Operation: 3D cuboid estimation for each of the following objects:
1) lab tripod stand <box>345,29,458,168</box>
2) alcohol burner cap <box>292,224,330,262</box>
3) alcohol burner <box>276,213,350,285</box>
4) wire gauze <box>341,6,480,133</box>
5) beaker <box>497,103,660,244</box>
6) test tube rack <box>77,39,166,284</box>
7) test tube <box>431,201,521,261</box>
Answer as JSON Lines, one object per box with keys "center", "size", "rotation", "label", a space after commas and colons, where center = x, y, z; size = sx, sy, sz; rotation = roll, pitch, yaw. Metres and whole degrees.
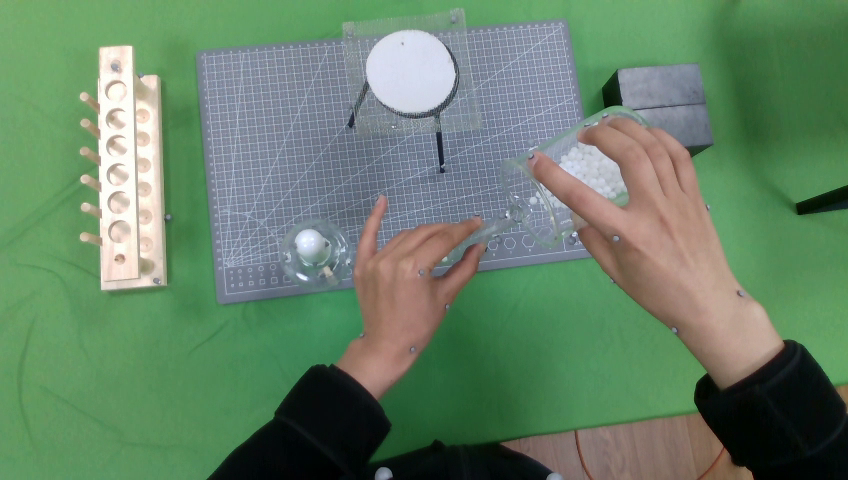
{"center": [-0.016, -0.159, 0.655], "size": [0.148, 0.132, 0.148], "rotation": [1, 80, -3], "label": "lab tripod stand"}
{"center": [-0.113, 0.002, 0.597], "size": [0.034, 0.048, 0.033], "rotation": [0, 76, 1], "label": "alcohol burner cap"}
{"center": [-0.117, 0.007, 0.632], "size": [0.078, 0.119, 0.077], "rotation": [1, 81, -6], "label": "alcohol burner"}
{"center": [-0.013, -0.165, 0.588], "size": [0.125, 0.011, 0.121], "rotation": [-6, 83, -6], "label": "wire gauze"}
{"center": [0.116, -0.051, 0.456], "size": [0.100, 0.084, 0.074], "rotation": [-28, 85, -9], "label": "beaker"}
{"center": [-0.326, -0.079, 0.643], "size": [0.067, 0.085, 0.241], "rotation": [-5, 82, -5], "label": "test tube rack"}
{"center": [0.043, -0.004, 0.551], "size": [0.017, 0.150, 0.017], "rotation": [7, 71, -23], "label": "test tube"}
